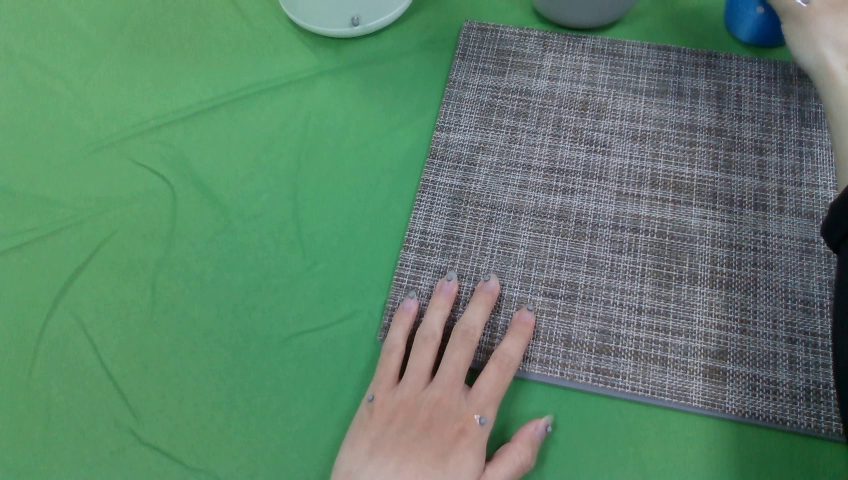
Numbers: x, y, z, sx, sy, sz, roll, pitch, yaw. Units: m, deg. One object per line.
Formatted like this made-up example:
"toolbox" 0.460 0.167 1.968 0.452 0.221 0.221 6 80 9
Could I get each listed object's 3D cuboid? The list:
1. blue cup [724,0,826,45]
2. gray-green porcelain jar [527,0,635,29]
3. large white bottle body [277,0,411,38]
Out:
"blue cup" 0.284 -0.211 0.475 0.092 0.101 0.092 -2 63 4
"gray-green porcelain jar" 0.135 -0.248 0.494 0.106 0.127 0.105 -2 64 4
"large white bottle body" -0.077 -0.275 0.487 0.130 0.186 0.129 -1 64 3
